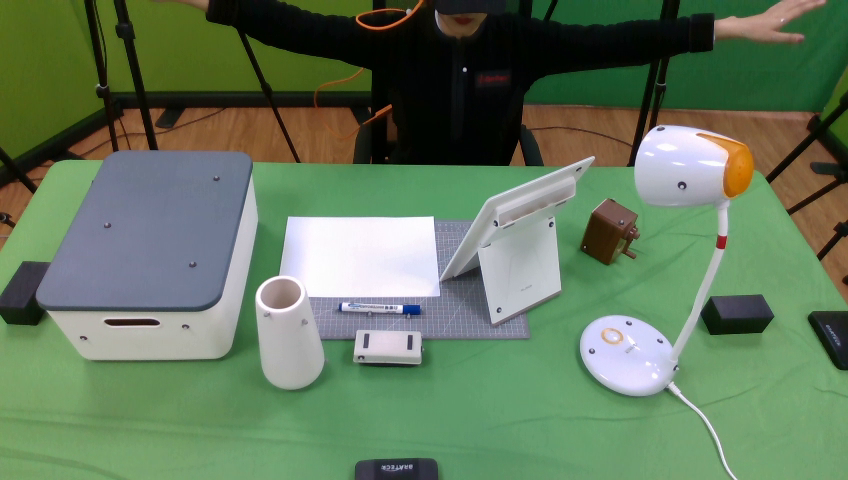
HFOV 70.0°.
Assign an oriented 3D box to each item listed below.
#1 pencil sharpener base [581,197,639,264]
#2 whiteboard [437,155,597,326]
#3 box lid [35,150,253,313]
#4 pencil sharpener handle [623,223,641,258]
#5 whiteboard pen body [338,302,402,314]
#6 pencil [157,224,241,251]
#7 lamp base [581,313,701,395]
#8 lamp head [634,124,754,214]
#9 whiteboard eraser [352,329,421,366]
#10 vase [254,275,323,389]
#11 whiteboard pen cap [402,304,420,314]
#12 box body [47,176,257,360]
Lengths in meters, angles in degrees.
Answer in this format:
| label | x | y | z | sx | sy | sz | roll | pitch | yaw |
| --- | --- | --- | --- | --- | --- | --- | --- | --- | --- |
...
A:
| label | x | y | z | sx | sy | sz | roll | pitch | yaw |
| --- | --- | --- | --- | --- | --- | --- | --- | --- | --- |
| pencil sharpener base | 0.362 | -0.016 | 1.178 | 0.076 | 0.107 | 0.061 | 35 | 53 | 26 |
| whiteboard | 0.180 | 0.023 | 1.029 | 0.217 | 0.306 | 0.143 | -21 | 71 | -23 |
| box lid | -0.437 | -0.032 | 0.994 | 0.263 | 0.015 | 0.369 | 0 | 46 | -5 |
| pencil sharpener handle | 0.399 | 0.002 | 1.146 | 0.030 | 0.068 | 0.036 | 35 | 45 | 26 |
| whiteboard pen body | -0.083 | 0.121 | 1.074 | 0.141 | 0.017 | 0.017 | 3 | 46 | -2 |
| pencil | -0.438 | -0.008 | 1.174 | 0.193 | 0.012 | 0.012 | 15 | 47 | 15 |
| lamp base | 0.361 | 0.144 | 0.973 | 0.178 | 0.181 | 0.160 | 34 | 53 | 23 |
| lamp head | 0.351 | -0.089 | 0.776 | 0.112 | 0.113 | 0.122 | -30 | 30 | -28 |
| whiteboard eraser | -0.061 | 0.179 | 1.005 | 0.113 | 0.042 | 0.055 | 3 | 48 | -3 |
| vase | -0.209 | 0.143 | 0.921 | 0.098 | 0.201 | 0.097 | 1 | 46 | -1 |
| whiteboard pen cap | -0.024 | 0.123 | 1.076 | 0.033 | 0.018 | 0.018 | 1 | 46 | 1 |
| box body | -0.441 | 0.022 | 1.046 | 0.254 | 0.161 | 0.361 | 0 | 46 | -5 |
